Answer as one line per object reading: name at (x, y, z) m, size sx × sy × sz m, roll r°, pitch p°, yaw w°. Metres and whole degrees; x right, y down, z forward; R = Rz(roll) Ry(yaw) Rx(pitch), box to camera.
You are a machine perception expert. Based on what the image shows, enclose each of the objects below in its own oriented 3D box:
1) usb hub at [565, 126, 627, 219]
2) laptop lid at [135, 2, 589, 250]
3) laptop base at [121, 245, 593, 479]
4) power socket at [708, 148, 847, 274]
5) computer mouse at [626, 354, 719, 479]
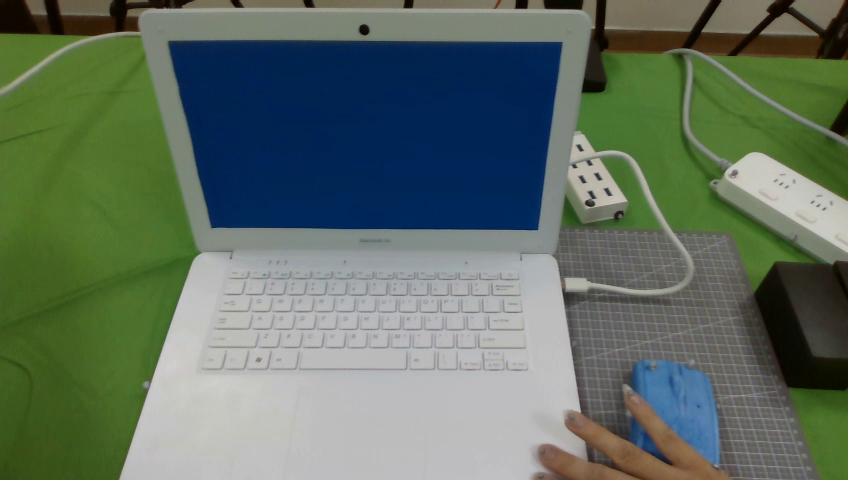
usb hub at (0.174, -0.078, 0.675) m, size 0.049 × 0.025 × 0.123 m, roll -11°, pitch 49°, yaw -9°
laptop lid at (-0.048, -0.085, 0.530) m, size 0.357 × 0.244 × 0.013 m, roll -1°, pitch 36°, yaw 1°
laptop base at (-0.049, 0.101, 0.523) m, size 0.354 × 0.023 × 0.233 m, roll 0°, pitch 52°, yaw 1°
power socket at (0.408, -0.023, 0.623) m, size 0.072 × 0.033 × 0.224 m, roll -31°, pitch 55°, yaw -25°
computer mouse at (0.194, 0.138, 0.474) m, size 0.062 × 0.041 × 0.116 m, roll 11°, pitch 45°, yaw 12°
